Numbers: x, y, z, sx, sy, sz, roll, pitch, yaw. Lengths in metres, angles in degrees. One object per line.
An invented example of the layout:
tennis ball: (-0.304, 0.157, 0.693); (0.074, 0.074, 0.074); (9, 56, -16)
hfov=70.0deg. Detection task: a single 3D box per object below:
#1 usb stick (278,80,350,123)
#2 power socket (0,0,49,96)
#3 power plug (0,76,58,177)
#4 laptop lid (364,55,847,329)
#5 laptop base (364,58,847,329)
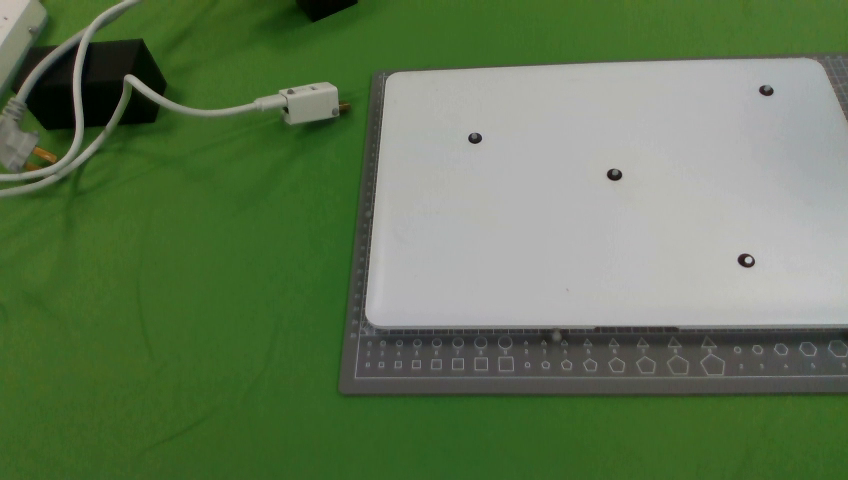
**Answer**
usb stick: (-0.090, -0.117, 0.508); (0.059, 0.027, 0.021); (-17, 33, -31)
power socket: (-0.427, -0.159, 0.564); (0.072, 0.033, 0.225); (3, 58, 5)
power plug: (-0.317, -0.088, 0.492); (0.072, 0.053, 0.035); (-54, 34, 5)
laptop lid: (0.138, -0.046, 0.440); (0.356, 0.013, 0.239); (1, 60, 5)
laptop base: (0.139, -0.041, 0.451); (0.354, 0.023, 0.233); (-1, 62, 4)
